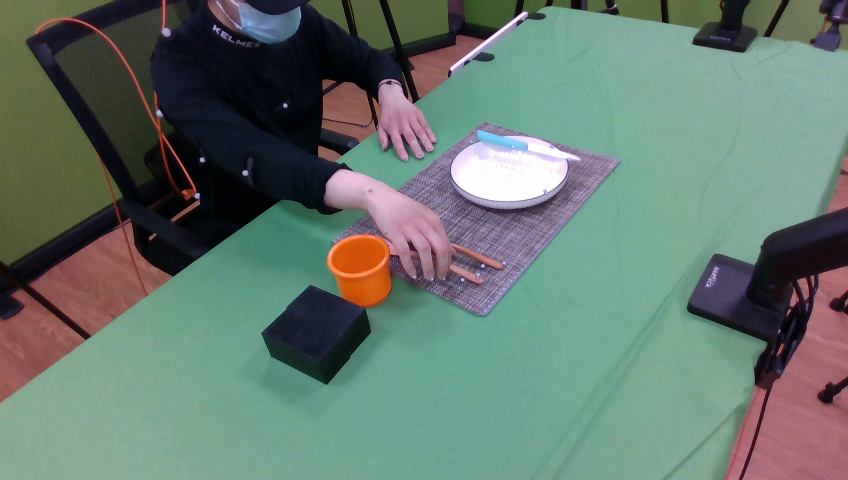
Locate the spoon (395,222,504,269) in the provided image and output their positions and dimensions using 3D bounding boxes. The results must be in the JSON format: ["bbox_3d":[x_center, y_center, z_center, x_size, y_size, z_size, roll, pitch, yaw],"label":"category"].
[{"bbox_3d":[0.038,0.009,0.945,0.192,0.022,0.042,19,31,26],"label":"spoon"}]

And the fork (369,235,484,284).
[{"bbox_3d":[0.001,0.030,0.930,0.206,0.019,0.028,18,38,28],"label":"fork"}]

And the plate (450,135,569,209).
[{"bbox_3d":[0.149,-0.117,1.065,0.209,0.038,0.208,-3,41,3],"label":"plate"}]

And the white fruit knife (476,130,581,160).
[{"bbox_3d":[0.184,-0.170,1.089,0.206,0.016,0.027,18,42,25],"label":"white fruit knife"}]
